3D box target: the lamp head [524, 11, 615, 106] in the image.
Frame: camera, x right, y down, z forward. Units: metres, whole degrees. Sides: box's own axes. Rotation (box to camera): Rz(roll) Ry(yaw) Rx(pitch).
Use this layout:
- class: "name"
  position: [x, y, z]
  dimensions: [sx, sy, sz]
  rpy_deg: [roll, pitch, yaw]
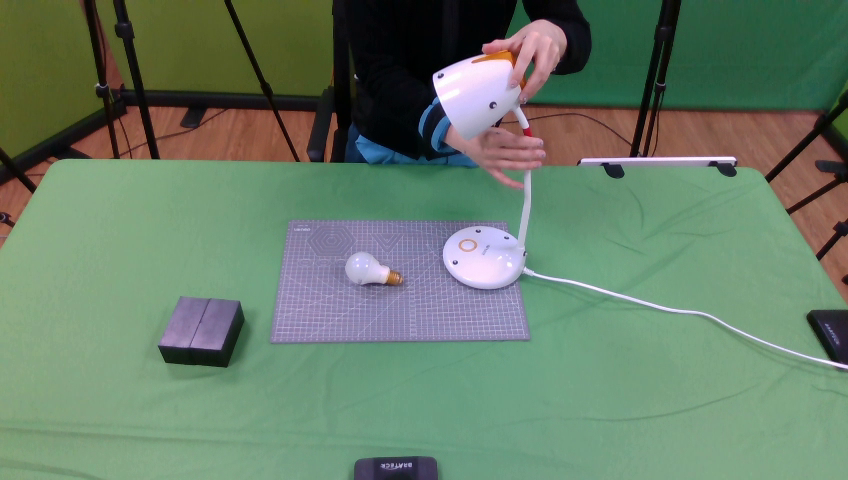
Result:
- class: "lamp head"
  position: [0.220, -0.249, 0.887]
  dimensions: [0.112, 0.123, 0.111]
  rpy_deg: [-25, 46, 29]

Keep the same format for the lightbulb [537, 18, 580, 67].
- class: "lightbulb"
  position: [0.205, -0.270, 0.872]
  dimensions: [0.059, 0.108, 0.059]
  rpy_deg: [-32, 35, 26]

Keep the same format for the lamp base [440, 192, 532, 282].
- class: "lamp base"
  position: [0.127, -0.032, 1.123]
  dimensions: [0.179, 0.181, 0.159]
  rpy_deg: [11, 46, 2]
